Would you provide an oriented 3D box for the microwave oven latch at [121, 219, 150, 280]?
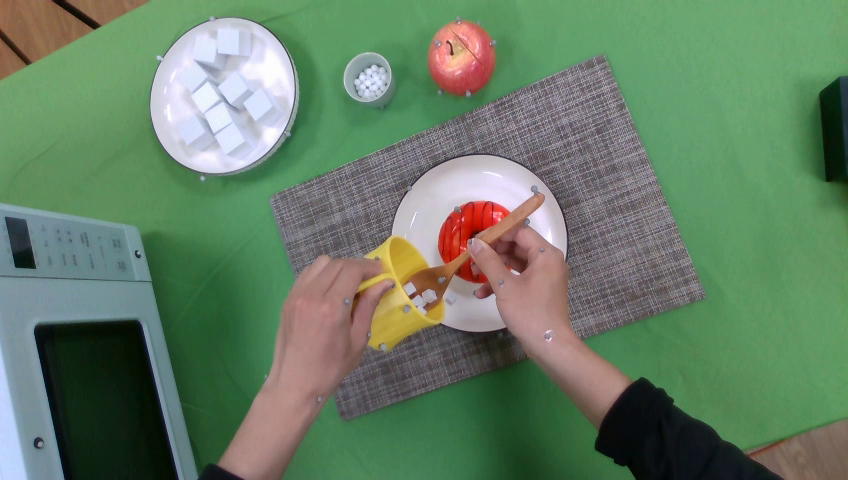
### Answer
[{"bbox_3d":[-0.384,0.014,0.790,0.030,0.029,0.079,-17,83,10],"label":"microwave oven latch"}]

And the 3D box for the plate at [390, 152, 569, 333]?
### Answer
[{"bbox_3d":[0.063,0.002,0.707,0.208,0.038,0.208,-1,86,12],"label":"plate"}]

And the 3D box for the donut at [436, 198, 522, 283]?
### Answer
[{"bbox_3d":[0.063,0.001,0.696,0.099,0.048,0.099,-1,88,13],"label":"donut"}]

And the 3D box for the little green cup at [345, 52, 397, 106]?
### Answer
[{"bbox_3d":[-0.064,-0.197,0.753,0.061,0.039,0.061,-1,86,13],"label":"little green cup"}]

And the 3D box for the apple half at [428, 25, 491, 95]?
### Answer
[{"bbox_3d":[0.035,-0.203,0.714,0.053,0.075,0.080,-42,82,11],"label":"apple half"}]

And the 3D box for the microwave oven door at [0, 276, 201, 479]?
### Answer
[{"bbox_3d":[-0.347,0.214,0.663,0.039,0.245,0.354,-18,82,11],"label":"microwave oven door"}]

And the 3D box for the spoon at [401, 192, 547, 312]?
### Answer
[{"bbox_3d":[0.044,0.014,0.586,0.194,0.022,0.041,-40,73,34],"label":"spoon"}]

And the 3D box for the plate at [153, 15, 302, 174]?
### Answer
[{"bbox_3d":[-0.253,-0.187,0.794,0.207,0.039,0.207,-1,86,13],"label":"plate"}]

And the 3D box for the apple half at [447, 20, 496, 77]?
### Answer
[{"bbox_3d":[0.063,-0.229,0.708,0.033,0.081,0.081,-42,78,10],"label":"apple half"}]

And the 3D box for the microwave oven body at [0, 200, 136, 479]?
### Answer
[{"bbox_3d":[-0.494,0.219,0.700,0.326,0.261,0.440,-18,83,10],"label":"microwave oven body"}]

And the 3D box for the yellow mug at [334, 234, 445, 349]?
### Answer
[{"bbox_3d":[-0.039,0.050,0.593,0.064,0.131,0.099,-30,74,20],"label":"yellow mug"}]
